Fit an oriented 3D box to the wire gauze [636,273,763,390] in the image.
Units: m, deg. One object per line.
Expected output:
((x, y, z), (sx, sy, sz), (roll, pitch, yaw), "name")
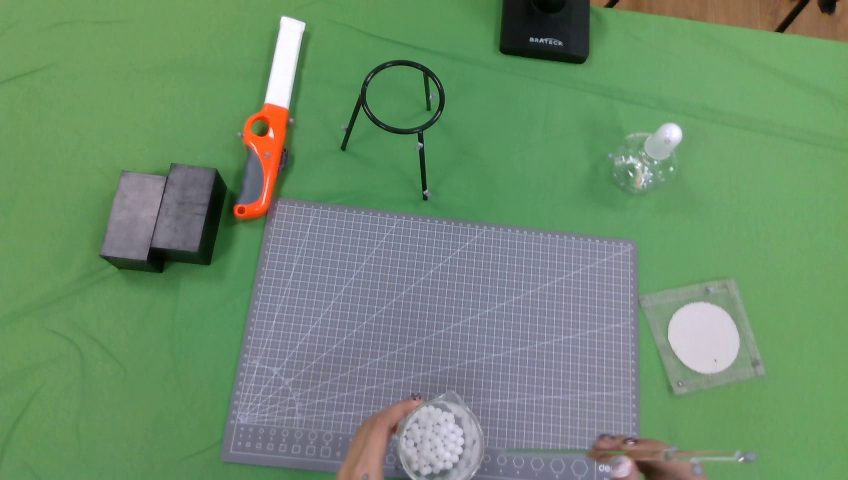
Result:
((0.329, 0.107, 0.721), (0.125, 0.011, 0.120), (-11, 74, -6), "wire gauze")

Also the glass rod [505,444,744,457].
((0.123, 0.144, 0.416), (0.008, 0.199, 0.008), (12, 68, -32), "glass rod")

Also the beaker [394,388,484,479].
((0.010, 0.181, 0.561), (0.074, 0.100, 0.083), (14, 73, -3), "beaker")

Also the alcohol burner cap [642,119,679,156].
((0.274, -0.119, 0.694), (0.034, 0.048, 0.033), (0, 76, -2), "alcohol burner cap")

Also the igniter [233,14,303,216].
((-0.188, -0.156, 0.746), (0.057, 0.025, 0.275), (13, 71, -17), "igniter")

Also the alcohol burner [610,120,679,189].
((0.271, -0.108, 0.728), (0.078, 0.119, 0.077), (2, 70, -4), "alcohol burner")

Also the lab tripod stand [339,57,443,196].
((-0.029, -0.139, 0.700), (0.148, 0.132, 0.147), (1, 70, -4), "lab tripod stand")
